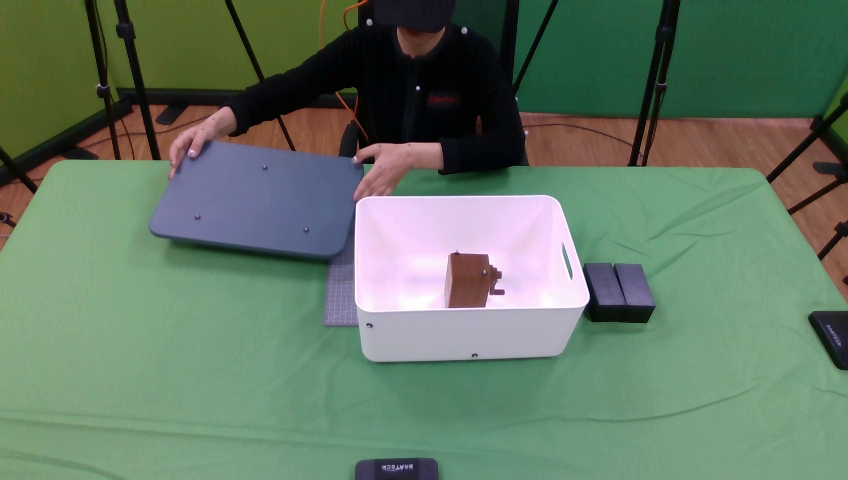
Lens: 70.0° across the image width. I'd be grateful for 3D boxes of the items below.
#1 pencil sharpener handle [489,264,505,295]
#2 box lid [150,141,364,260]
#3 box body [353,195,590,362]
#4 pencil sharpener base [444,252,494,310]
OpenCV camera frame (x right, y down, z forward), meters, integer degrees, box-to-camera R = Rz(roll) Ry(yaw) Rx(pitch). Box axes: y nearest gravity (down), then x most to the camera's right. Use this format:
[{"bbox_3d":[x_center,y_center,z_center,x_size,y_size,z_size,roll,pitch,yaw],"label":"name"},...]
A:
[{"bbox_3d":[0.129,0.071,1.052,0.031,0.068,0.036,1,43,-4],"label":"pencil sharpener handle"},{"bbox_3d":[-0.316,-0.085,1.192,0.371,0.015,0.262,7,52,1],"label":"box lid"},{"bbox_3d":[0.065,0.066,1.040,0.364,0.161,0.252,-1,46,-5],"label":"box body"},{"bbox_3d":[0.078,0.078,1.058,0.077,0.107,0.061,1,45,-4],"label":"pencil sharpener base"}]
